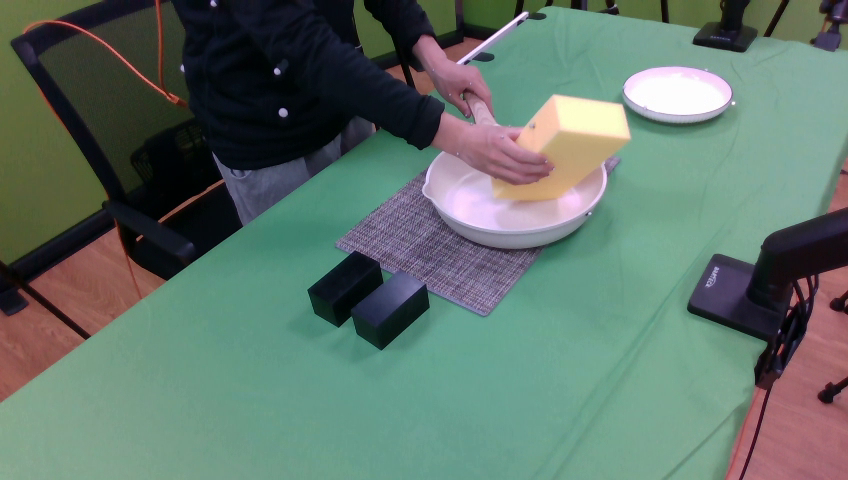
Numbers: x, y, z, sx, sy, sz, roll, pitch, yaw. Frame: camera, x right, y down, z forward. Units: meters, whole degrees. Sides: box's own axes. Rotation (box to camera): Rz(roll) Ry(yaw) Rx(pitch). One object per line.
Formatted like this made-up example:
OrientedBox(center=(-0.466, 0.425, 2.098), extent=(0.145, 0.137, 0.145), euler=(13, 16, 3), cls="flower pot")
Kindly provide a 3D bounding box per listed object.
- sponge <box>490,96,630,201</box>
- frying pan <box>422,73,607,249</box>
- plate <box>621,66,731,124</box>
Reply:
OrientedBox(center=(0.201, -0.132, 0.935), extent=(0.119, 0.206, 0.060), euler=(3, 67, -21), cls="sponge")
OrientedBox(center=(0.130, -0.161, 1.069), extent=(0.307, 0.103, 0.484), euler=(-10, 49, -5), cls="frying pan")
OrientedBox(center=(0.503, -0.288, 1.221), extent=(0.207, 0.039, 0.206), euler=(-4, 41, 4), cls="plate")
